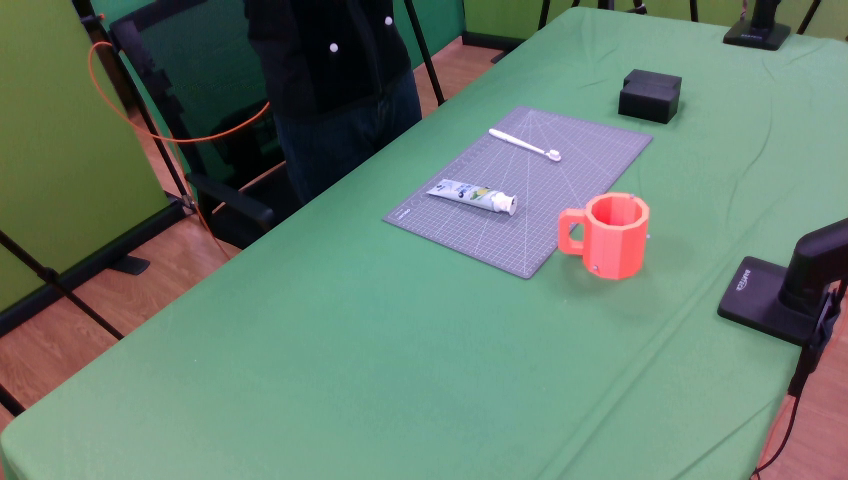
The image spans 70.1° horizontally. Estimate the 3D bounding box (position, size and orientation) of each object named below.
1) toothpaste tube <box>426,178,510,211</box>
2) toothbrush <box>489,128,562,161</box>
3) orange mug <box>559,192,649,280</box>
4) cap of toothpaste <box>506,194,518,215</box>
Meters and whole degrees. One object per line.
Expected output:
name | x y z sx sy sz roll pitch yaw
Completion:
toothpaste tube | 0.083 -0.081 1.054 0.164 0.034 0.055 18 40 34
toothbrush | 0.191 -0.188 1.167 0.014 0.017 0.180 -44 48 -16
orange mug | 0.261 -0.008 0.884 0.126 0.101 0.083 9 43 14
cap of toothpaste | 0.146 -0.060 1.007 0.011 0.037 0.037 14 46 22
